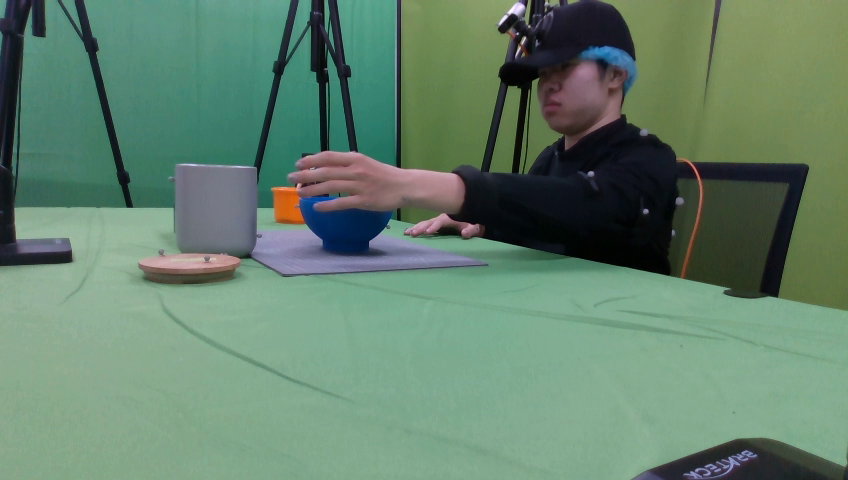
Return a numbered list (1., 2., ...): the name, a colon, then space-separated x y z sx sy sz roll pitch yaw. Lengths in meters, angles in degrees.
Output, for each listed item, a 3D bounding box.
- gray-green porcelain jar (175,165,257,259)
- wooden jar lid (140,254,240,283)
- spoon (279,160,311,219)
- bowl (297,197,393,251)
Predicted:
1. gray-green porcelain jar: -0.286 -0.039 0.837 0.106 0.126 0.106 2 7 0
2. wooden jar lid: -0.269 0.033 0.698 0.108 0.020 0.108 2 5 0
3. spoon: -0.284 -0.117 1.371 0.041 0.193 0.022 3 -37 11
4. bowl: -0.125 -0.026 0.957 0.151 0.077 0.151 2 7 0
